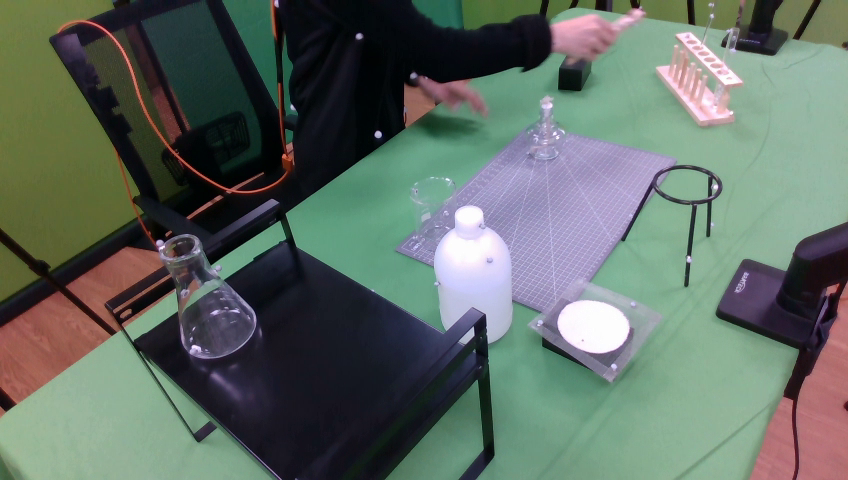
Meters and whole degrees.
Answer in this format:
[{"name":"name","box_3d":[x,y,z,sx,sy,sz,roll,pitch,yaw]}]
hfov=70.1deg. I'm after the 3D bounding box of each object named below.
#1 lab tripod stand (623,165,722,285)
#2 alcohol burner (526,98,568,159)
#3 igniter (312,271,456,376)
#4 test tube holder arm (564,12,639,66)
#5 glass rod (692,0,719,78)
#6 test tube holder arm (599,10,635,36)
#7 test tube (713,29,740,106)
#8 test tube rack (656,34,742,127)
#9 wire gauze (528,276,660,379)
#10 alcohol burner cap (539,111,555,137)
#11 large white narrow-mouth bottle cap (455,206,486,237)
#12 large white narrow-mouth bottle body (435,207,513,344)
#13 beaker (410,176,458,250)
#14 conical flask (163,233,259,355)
[{"name":"lab tripod stand","box_3d":[0.365,-0.030,0.875,0.148,0.132,0.147,-6,41,6]},{"name":"alcohol burner","box_3d":[0.228,-0.210,1.118,0.078,0.119,0.077,-5,43,5]},{"name":"igniter","box_3d":[-0.068,0.111,0.859,0.274,0.025,0.057,27,61,34]},{"name":"test tube holder arm","box_3d":[0.329,-0.373,1.118,0.179,0.015,0.013,-36,62,-13]},{"name":"glass rod","box_3d":[0.561,-0.402,1.214,0.008,0.200,0.008,-1,49,2]},{"name":"test tube holder arm","box_3d":[0.361,-0.402,1.131,0.088,0.015,0.010,-36,62,-13]},{"name":"test tube","box_3d":[0.572,-0.324,1.147,0.017,0.151,0.017,-2,38,2]},{"name":"test tube rack","box_3d":[0.553,-0.330,1.233,0.067,0.085,0.241,-7,40,2]},{"name":"wire gauze","box_3d":[0.214,0.103,0.763,0.124,0.011,0.122,30,53,35]},{"name":"alcohol burner cap","box_3d":[0.243,-0.232,1.197,0.034,0.048,0.033,-4,39,4]},{"name":"large white narrow-mouth bottle cap","box_3d":[0.056,-0.023,0.734,0.038,0.024,0.037,-4,41,4]},{"name":"large white narrow-mouth bottle body","box_3d":[0.065,0.041,0.791,0.102,0.195,0.101,-4,41,4]},{"name":"beaker","box_3d":[0.022,-0.041,0.964,0.073,0.101,0.084,28,51,35]},{"name":"conical flask","box_3d":[-0.216,0.051,0.601,0.075,0.122,0.075,-4,40,4]}]
